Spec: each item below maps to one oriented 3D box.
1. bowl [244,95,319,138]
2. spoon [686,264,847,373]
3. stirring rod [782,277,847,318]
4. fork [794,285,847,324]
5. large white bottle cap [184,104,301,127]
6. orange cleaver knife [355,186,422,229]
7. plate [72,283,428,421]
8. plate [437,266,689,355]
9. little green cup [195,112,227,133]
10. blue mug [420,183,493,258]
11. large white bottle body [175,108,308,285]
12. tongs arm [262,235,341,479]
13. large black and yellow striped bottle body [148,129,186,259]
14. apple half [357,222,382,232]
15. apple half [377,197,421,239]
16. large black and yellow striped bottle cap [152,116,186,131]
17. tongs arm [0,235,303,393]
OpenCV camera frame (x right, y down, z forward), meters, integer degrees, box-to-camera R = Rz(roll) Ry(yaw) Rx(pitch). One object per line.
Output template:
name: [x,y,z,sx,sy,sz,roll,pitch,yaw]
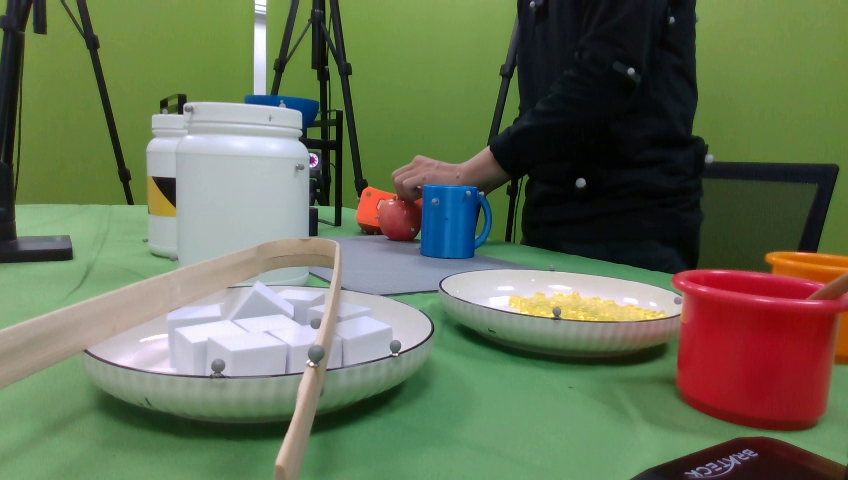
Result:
bowl: [-0.293,-0.251,1.249,0.151,0.077,0.151,2,8,0]
spoon: [0.214,0.032,0.328,0.042,0.021,0.193,-3,-35,-26]
stirring rod: [0.345,0.019,0.461,0.014,0.006,0.176,-13,-27,-30]
fork: [0.332,0.018,0.443,0.028,0.018,0.207,0,-36,-15]
large white bottle cap: [-0.184,-0.126,0.618,0.115,0.018,0.115,2,8,0]
orange cleaver knife: [-0.021,-0.058,1.103,0.212,0.077,0.012,1,-9,-16]
plate: [-0.102,0.066,0.381,0.208,0.039,0.207,2,7,0]
plate: [0.114,0.057,0.518,0.209,0.038,0.209,3,8,0]
little green cup: [-0.412,-0.227,1.171,0.061,0.038,0.061,3,8,0]
blue mug: [0.052,-0.031,0.912,0.117,0.106,0.082,-1,8,-24]
large white bottle body: [-0.188,-0.042,0.630,0.131,0.184,0.130,2,8,0]
tongs arm: [-0.073,0.039,0.349,0.051,0.026,0.384,-1,9,-3]
large black and yellow striped bottle body: [-0.310,-0.072,0.838,0.131,0.184,0.130,2,8,0]
apple half: [-0.095,-0.031,1.169,0.081,0.033,0.081,9,-5,1]
apple half: [-0.036,-0.037,1.056,0.081,0.074,0.053,3,10,-27]
large black and yellow striped bottle cap: [-0.309,-0.155,0.826,0.115,0.019,0.115,3,6,0]
tongs arm: [-0.157,0.038,0.351,0.028,0.028,0.388,-3,8,12]
